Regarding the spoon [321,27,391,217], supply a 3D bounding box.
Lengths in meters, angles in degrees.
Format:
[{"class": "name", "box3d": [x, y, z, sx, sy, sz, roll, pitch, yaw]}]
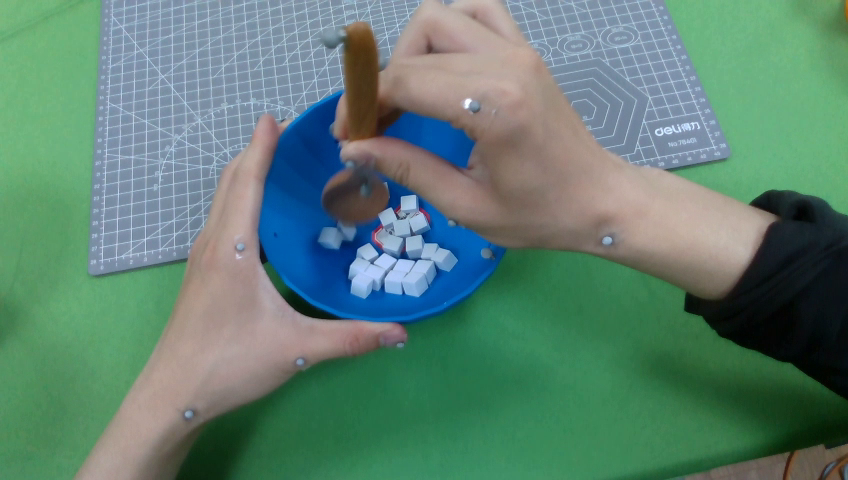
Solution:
[{"class": "spoon", "box3d": [-0.030, -0.043, 0.291, 0.042, 0.194, 0.021, -5, 80, -9]}]

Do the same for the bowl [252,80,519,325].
[{"class": "bowl", "box3d": [-0.020, -0.013, 0.375, 0.151, 0.077, 0.150, -1, 69, 3]}]
